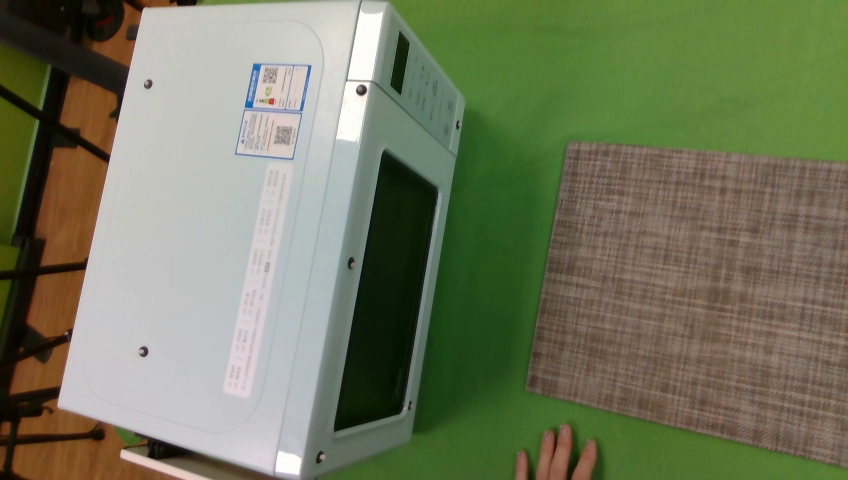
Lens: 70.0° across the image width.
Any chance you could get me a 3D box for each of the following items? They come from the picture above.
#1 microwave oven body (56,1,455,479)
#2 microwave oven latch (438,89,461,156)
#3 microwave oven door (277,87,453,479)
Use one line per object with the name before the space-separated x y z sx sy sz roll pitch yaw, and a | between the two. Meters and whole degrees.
microwave oven body | -0.173 -0.003 0.699 0.324 0.262 0.440 7 85 21
microwave oven latch | 0.026 -0.146 0.749 0.030 0.030 0.079 8 85 22
microwave oven door | -0.048 0.053 0.636 0.039 0.245 0.355 7 84 22
